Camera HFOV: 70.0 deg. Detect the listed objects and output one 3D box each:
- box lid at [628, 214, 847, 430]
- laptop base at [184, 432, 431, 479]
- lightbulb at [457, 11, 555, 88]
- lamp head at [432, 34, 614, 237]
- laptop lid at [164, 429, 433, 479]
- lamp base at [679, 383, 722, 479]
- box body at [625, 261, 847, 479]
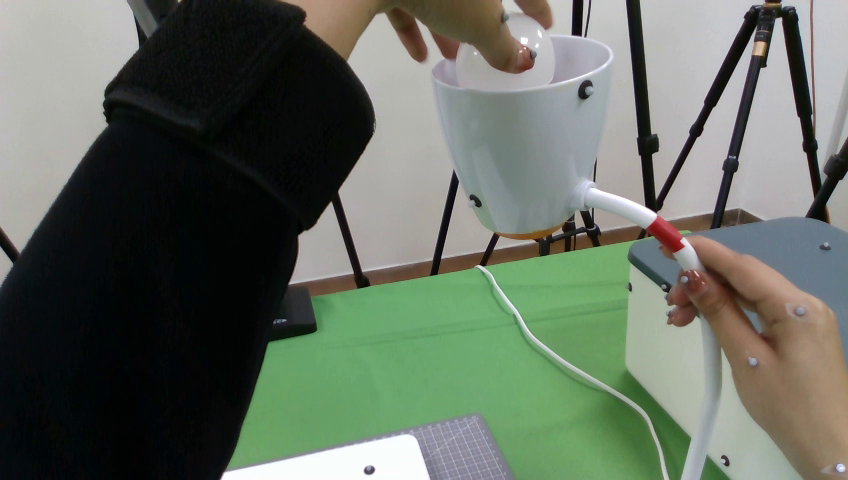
[{"bbox_3d":[0.389,0.063,0.549,0.264,0.015,0.367,-9,27,-14],"label":"box lid"},{"bbox_3d":[-0.150,0.277,0.488,0.355,0.023,0.233,-8,30,-12],"label":"laptop base"},{"bbox_3d":[0.055,-0.089,0.384,0.059,0.108,0.059,-11,33,7],"label":"lightbulb"},{"bbox_3d":[0.070,-0.064,0.398,0.112,0.124,0.111,-10,28,6],"label":"lamp head"},{"bbox_3d":[-0.150,0.268,0.480,0.357,0.013,0.239,-8,29,-11],"label":"laptop lid"},{"bbox_3d":[0.178,0.202,0.429,0.160,0.181,0.179,10,26,21],"label":"lamp base"},{"bbox_3d":[0.392,0.131,0.581,0.255,0.161,0.360,-9,27,-14],"label":"box body"}]
